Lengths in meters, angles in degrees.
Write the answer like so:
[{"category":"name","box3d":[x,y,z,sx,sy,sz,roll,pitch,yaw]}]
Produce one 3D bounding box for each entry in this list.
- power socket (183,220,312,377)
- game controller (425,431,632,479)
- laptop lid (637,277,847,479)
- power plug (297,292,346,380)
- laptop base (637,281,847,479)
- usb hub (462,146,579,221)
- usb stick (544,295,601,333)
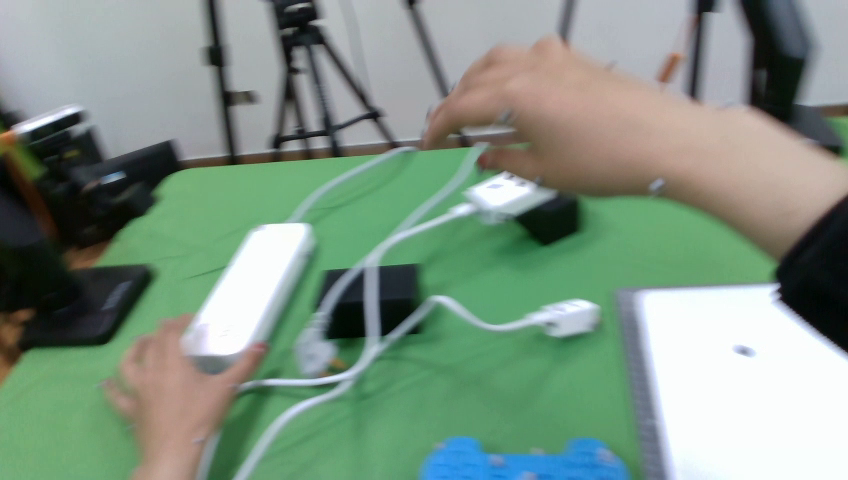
[{"category":"power socket","box3d":[-0.186,0.051,0.666,0.072,0.033,0.225,0,39,12]},{"category":"game controller","box3d":[0.073,0.181,0.428,0.155,0.052,0.096,-2,34,11]},{"category":"laptop lid","box3d":[0.358,0.110,0.452,0.356,0.013,0.239,-2,41,11]},{"category":"power plug","box3d":[-0.086,0.093,0.564,0.072,0.053,0.035,-53,18,-6]},{"category":"laptop base","box3d":[0.360,0.118,0.461,0.354,0.023,0.233,-3,42,10]},{"category":"usb hub","box3d":[0.107,-0.063,0.666,0.125,0.025,0.049,-26,42,-18]},{"category":"usb stick","box3d":[0.141,0.068,0.565,0.059,0.027,0.021,-4,14,-29]}]
